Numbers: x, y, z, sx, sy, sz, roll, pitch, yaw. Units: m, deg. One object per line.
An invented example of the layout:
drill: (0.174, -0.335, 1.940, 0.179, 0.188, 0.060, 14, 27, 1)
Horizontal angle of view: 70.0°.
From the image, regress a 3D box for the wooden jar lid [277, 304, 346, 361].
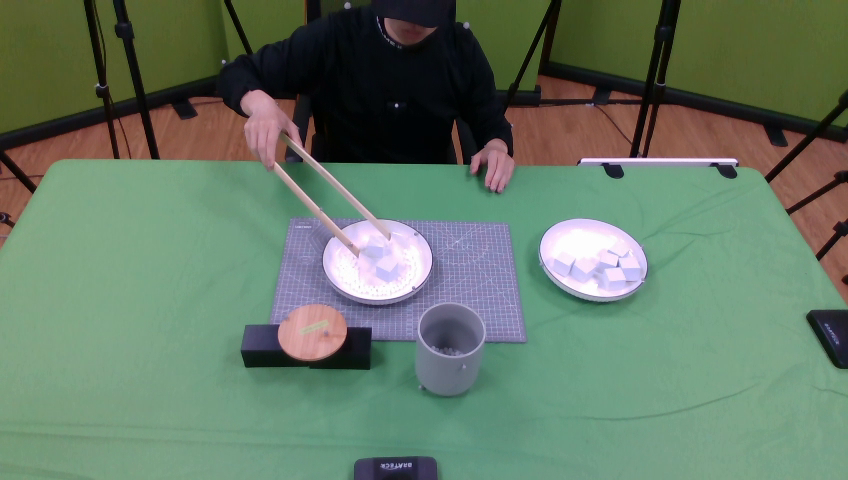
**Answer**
wooden jar lid: (-0.179, 0.150, 0.972, 0.108, 0.021, 0.107, 2, 45, -2)

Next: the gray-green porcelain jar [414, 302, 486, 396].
gray-green porcelain jar: (0.038, 0.177, 0.958, 0.106, 0.127, 0.105, 2, 46, -2)

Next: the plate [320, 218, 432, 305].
plate: (-0.089, 0.044, 1.134, 0.209, 0.038, 0.208, 2, 46, -2)

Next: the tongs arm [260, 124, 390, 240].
tongs arm: (-0.198, -0.121, 1.192, 0.028, 0.028, 0.385, -36, 63, -27)

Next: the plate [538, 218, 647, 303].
plate: (0.322, 0.042, 1.171, 0.208, 0.039, 0.206, 2, 46, -2)

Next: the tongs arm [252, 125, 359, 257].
tongs arm: (-0.230, -0.102, 1.171, 0.051, 0.026, 0.383, -33, 61, -29)
